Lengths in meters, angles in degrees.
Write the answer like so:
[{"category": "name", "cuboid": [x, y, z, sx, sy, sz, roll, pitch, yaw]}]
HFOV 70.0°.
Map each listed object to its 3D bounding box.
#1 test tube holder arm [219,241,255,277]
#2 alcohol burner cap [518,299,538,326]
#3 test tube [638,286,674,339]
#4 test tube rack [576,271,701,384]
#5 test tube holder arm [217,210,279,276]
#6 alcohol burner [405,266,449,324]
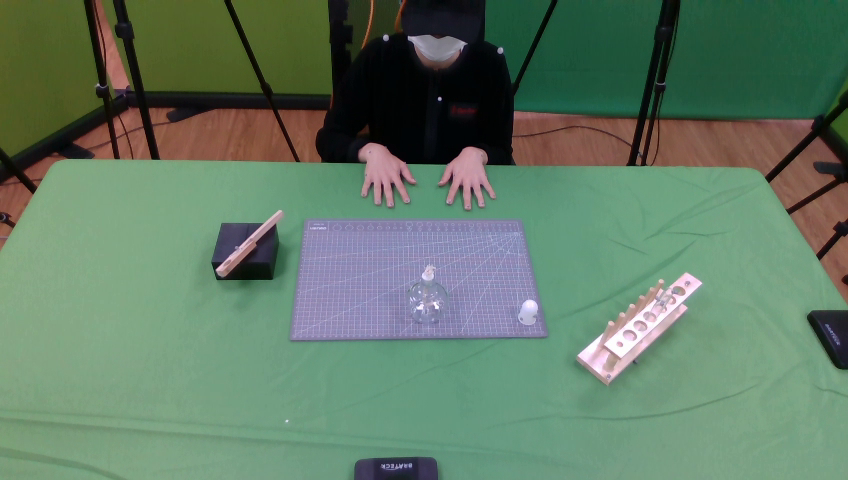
[{"category": "test tube holder arm", "cuboid": [-0.331, 0.032, 1.076, 0.010, 0.015, 0.087, 19, 47, 17]}, {"category": "alcohol burner cap", "cuboid": [0.186, 0.126, 1.072, 0.034, 0.048, 0.033, 1, 45, -1]}, {"category": "test tube", "cuboid": [0.375, 0.123, 0.994, 0.017, 0.151, 0.017, 2, 52, -2]}, {"category": "test tube rack", "cuboid": [0.373, 0.138, 1.047, 0.242, 0.085, 0.066, -31, 56, -29]}, {"category": "test tube holder arm", "cuboid": [-0.318, 0.002, 1.108, 0.013, 0.015, 0.178, 17, 46, 15]}, {"category": "alcohol burner", "cuboid": [0.005, 0.089, 1.043, 0.078, 0.120, 0.077, 1, 45, -1]}]
